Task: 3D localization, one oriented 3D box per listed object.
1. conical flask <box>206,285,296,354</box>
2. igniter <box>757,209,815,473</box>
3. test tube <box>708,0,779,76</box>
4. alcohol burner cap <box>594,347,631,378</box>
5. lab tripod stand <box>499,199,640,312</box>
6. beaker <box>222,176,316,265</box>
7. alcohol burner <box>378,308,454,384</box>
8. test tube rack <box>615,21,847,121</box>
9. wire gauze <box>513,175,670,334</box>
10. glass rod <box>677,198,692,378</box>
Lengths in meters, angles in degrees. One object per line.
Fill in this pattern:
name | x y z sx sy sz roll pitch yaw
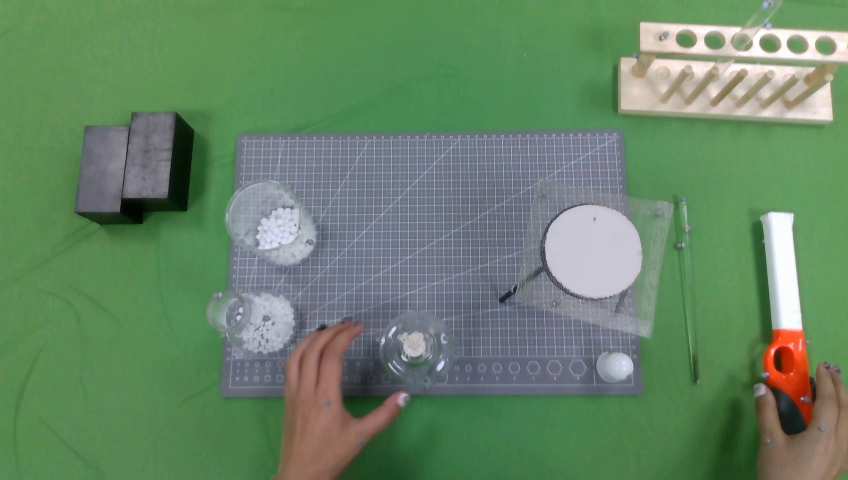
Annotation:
conical flask | -0.178 0.075 0.607 0.075 0.122 0.075 0 78 1
igniter | 0.382 0.102 0.644 0.057 0.025 0.275 4 78 -8
test tube | 0.329 -0.212 0.632 0.017 0.151 0.017 -1 77 4
alcohol burner cap | 0.199 0.127 0.631 0.034 0.048 0.033 0 77 1
lab tripod stand | 0.148 0.023 0.607 0.148 0.132 0.148 0 79 2
beaker | -0.155 -0.014 0.638 0.084 0.100 0.074 36 81 8
alcohol burner | -0.010 0.104 0.603 0.078 0.119 0.077 -1 78 3
test tube rack | 0.347 -0.186 0.676 0.242 0.085 0.066 3 77 2
wire gauze | 0.150 0.010 0.541 0.125 0.011 0.121 14 80 4
glass rod | 0.287 0.050 0.666 0.008 0.008 0.199 1 80 1
